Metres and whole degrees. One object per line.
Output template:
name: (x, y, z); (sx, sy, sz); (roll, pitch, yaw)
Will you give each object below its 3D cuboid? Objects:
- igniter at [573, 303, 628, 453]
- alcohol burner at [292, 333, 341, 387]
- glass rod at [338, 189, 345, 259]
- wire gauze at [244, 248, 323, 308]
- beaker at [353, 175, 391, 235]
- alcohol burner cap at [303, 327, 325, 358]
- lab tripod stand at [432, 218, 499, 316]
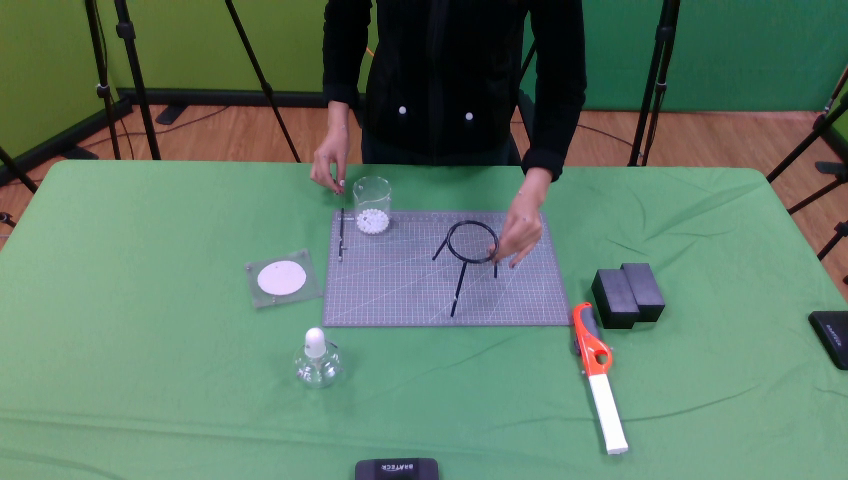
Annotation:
igniter: (0.288, 0.217, 1.006); (0.057, 0.025, 0.274); (-10, 46, 8)
alcohol burner: (-0.170, 0.179, 0.950); (0.078, 0.120, 0.077); (2, 48, -2)
glass rod: (-0.166, -0.037, 1.226); (0.008, 0.008, 0.198); (-1, 47, -4)
wire gauze: (-0.262, 0.071, 1.121); (0.125, 0.011, 0.120); (-11, 48, -17)
beaker: (-0.104, -0.065, 1.196); (0.074, 0.101, 0.084); (24, 50, 18)
alcohol burner cap: (-0.169, 0.154, 0.925); (0.034, 0.048, 0.033); (4, 41, -3)
lab tripod stand: (0.075, 0.041, 1.062); (0.148, 0.132, 0.147); (5, 53, -6)
